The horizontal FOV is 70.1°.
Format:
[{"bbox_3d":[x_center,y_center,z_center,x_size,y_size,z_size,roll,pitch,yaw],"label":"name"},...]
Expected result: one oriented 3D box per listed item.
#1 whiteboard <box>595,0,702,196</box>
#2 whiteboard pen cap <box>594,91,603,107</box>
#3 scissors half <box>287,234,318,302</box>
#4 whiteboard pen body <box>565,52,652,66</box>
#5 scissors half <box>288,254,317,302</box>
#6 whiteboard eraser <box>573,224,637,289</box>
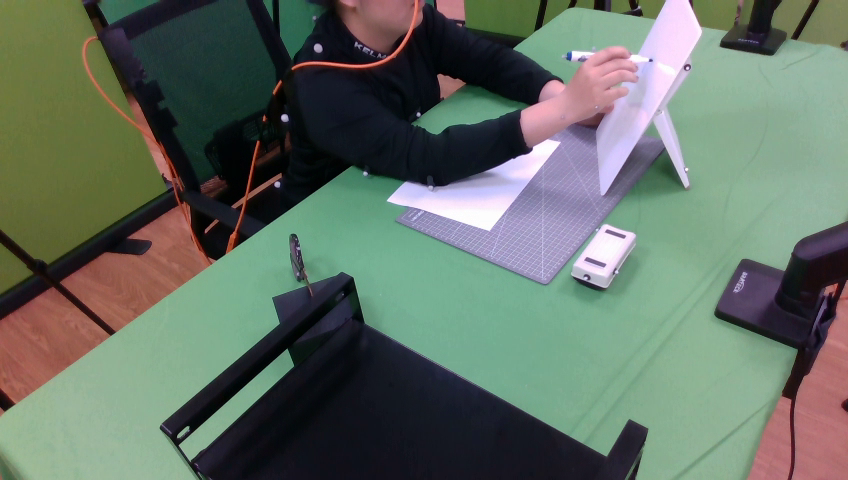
[{"bbox_3d":[0.421,-0.227,1.010,0.144,0.305,0.216,18,42,-2],"label":"whiteboard"},{"bbox_3d":[0.364,-0.294,1.262,0.018,0.033,0.018,-5,41,5],"label":"whiteboard pen cap"},{"bbox_3d":[-0.178,0.040,0.885,0.013,0.040,0.173,-10,36,-21],"label":"scissors half"},{"bbox_3d":[0.301,-0.292,0.981,0.141,0.017,0.017,3,40,-2],"label":"whiteboard pen body"},{"bbox_3d":[-0.178,0.058,0.894,0.013,0.040,0.174,-15,20,-18],"label":"scissors half"},{"bbox_3d":[0.267,0.025,0.891,0.055,0.042,0.113,19,47,31],"label":"whiteboard eraser"}]
